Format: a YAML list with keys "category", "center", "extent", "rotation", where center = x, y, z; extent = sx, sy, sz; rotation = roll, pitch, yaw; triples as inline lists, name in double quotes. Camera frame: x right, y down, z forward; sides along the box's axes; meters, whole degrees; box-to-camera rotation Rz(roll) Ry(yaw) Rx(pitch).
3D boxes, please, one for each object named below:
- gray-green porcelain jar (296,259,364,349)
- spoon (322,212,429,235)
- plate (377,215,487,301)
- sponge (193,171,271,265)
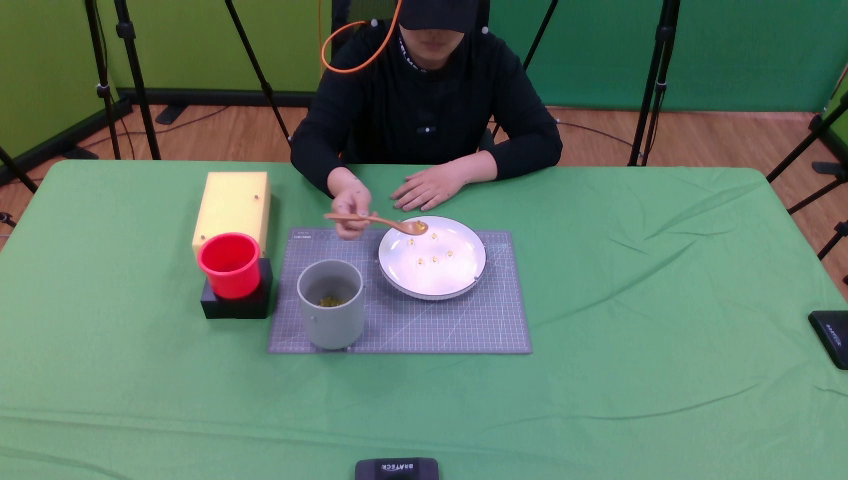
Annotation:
- category: "gray-green porcelain jar"
  center: [-0.152, 0.111, 1.003]
  extent: [0.106, 0.127, 0.105]
  rotation: [2, 46, -2]
- category: "spoon"
  center: [-0.081, -0.033, 1.044]
  extent: [0.194, 0.022, 0.041]
  rotation: [10, 34, -28]
- category: "plate"
  center: [0.015, 0.037, 1.147]
  extent: [0.208, 0.039, 0.206]
  rotation: [2, 46, -2]
- category: "sponge"
  center: [-0.371, -0.047, 1.189]
  extent: [0.118, 0.061, 0.205]
  rotation: [-3, 47, -6]
